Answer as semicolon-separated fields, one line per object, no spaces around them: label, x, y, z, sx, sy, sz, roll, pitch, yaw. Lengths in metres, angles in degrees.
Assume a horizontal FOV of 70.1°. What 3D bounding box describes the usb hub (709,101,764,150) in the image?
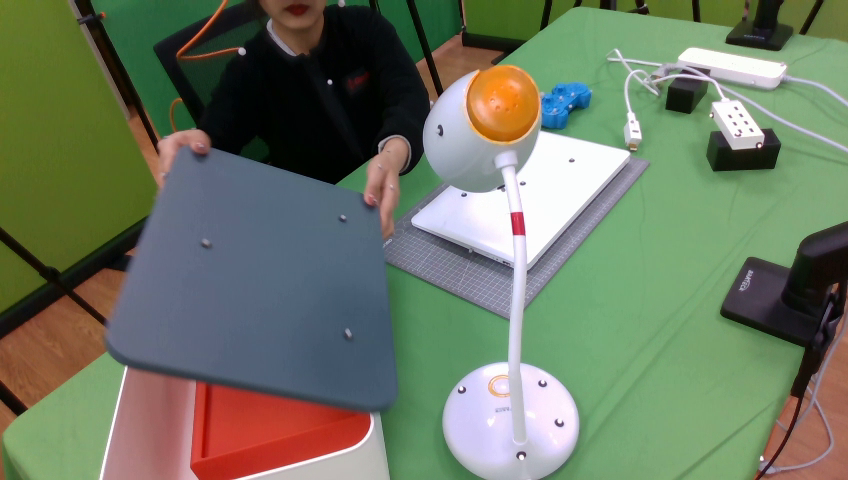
usb hub;0.534;-0.199;1.040;0.049;0.025;0.124;-5;39;8

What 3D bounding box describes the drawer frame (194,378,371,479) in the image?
drawer frame;-0.172;0.175;0.755;0.202;0.083;0.212;-15;42;-7

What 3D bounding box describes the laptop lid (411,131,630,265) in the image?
laptop lid;0.172;-0.094;1.050;0.239;0.013;0.358;23;49;36

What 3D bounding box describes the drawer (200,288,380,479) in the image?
drawer;-0.172;0.176;0.760;0.195;0.073;0.210;-13;42;-8

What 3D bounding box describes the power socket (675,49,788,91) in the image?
power socket;0.647;-0.363;1.284;0.225;0.033;0.072;26;52;35

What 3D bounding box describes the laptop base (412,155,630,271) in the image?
laptop base;0.176;-0.085;1.056;0.233;0.023;0.355;20;48;36

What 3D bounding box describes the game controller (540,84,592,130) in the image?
game controller;0.277;-0.282;1.251;0.096;0.052;0.155;27;52;31

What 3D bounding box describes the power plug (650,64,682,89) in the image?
power plug;0.498;-0.341;1.263;0.035;0.052;0.072;20;10;-7

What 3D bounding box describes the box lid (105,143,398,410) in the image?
box lid;-0.163;0.018;0.668;0.265;0.015;0.369;17;32;-20

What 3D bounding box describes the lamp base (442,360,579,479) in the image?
lamp base;0.094;0.158;0.657;0.161;0.181;0.178;-13;42;-5

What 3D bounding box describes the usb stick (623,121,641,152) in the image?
usb stick;0.389;-0.192;1.129;0.021;0.027;0.059;7;62;-8

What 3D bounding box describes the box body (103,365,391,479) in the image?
box body;-0.190;0.161;0.723;0.255;0.161;0.361;-13;40;-5

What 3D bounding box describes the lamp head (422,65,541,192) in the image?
lamp head;0.060;-0.106;0.560;0.113;0.112;0.122;-16;0;-8
